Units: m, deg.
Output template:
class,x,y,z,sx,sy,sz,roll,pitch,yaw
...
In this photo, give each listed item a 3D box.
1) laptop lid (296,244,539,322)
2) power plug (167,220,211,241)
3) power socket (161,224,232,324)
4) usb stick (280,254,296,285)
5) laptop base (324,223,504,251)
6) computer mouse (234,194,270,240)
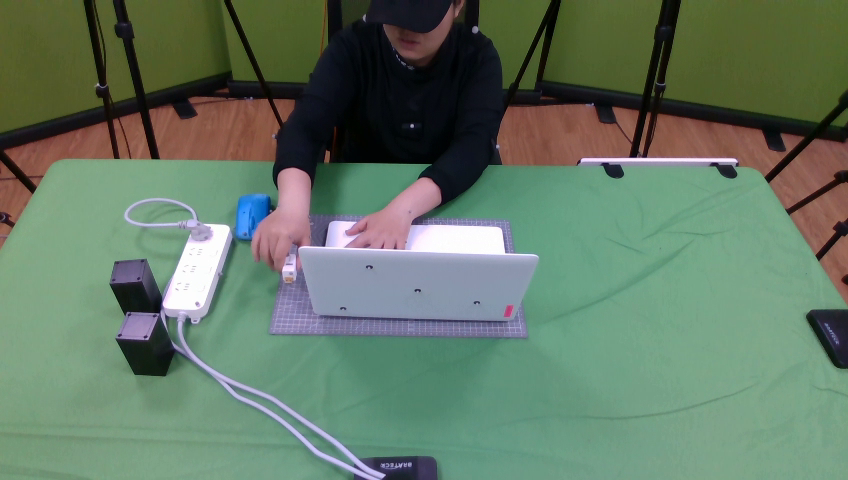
class,x,y,z,sx,sy,sz,roll,pitch,yaw
laptop lid,-0.013,0.076,0.962,0.357,0.243,0.013,3,58,-4
power plug,-0.438,-0.016,1.143,0.072,0.053,0.035,9,42,6
power socket,-0.411,0.052,1.107,0.072,0.033,0.225,4,45,-1
usb stick,-0.239,0.053,1.065,0.021,0.027,0.059,1,45,-3
laptop base,-0.018,0.056,1.144,0.354,0.023,0.234,2,42,-2
computer mouse,-0.342,-0.049,1.207,0.063,0.041,0.116,-1,50,-7
